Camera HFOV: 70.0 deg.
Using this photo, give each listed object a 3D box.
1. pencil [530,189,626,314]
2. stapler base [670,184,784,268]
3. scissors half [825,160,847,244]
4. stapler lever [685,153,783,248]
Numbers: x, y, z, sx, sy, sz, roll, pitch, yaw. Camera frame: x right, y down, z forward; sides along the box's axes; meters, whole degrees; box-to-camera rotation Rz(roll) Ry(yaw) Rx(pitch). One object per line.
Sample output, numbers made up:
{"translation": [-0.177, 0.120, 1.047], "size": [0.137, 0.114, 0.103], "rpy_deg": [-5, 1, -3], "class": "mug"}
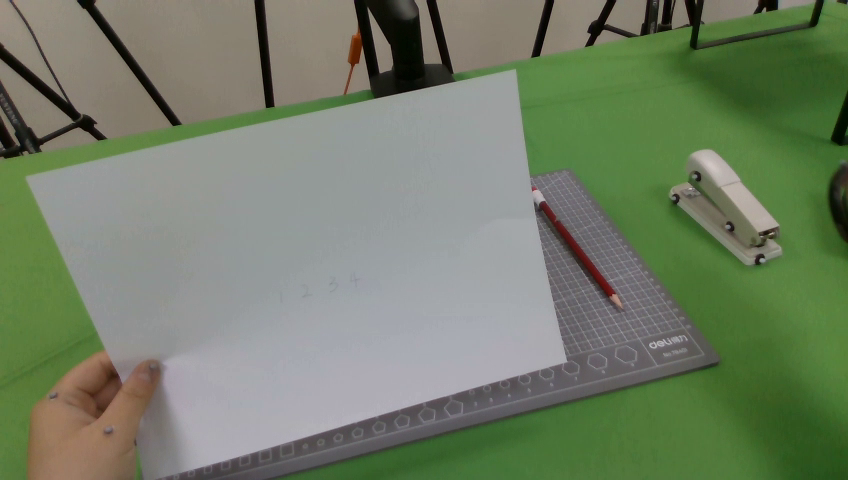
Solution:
{"translation": [0.147, 0.005, 0.594], "size": [0.012, 0.012, 0.192], "rpy_deg": [-15, 42, -9], "class": "pencil"}
{"translation": [0.297, -0.024, 0.601], "size": [0.041, 0.025, 0.129], "rpy_deg": [-17, 42, -9], "class": "stapler base"}
{"translation": [0.302, -0.081, 0.420], "size": [0.040, 0.013, 0.174], "rpy_deg": [10, 81, -2], "class": "scissors half"}
{"translation": [0.296, -0.042, 0.583], "size": [0.027, 0.040, 0.116], "rpy_deg": [-18, 42, -9], "class": "stapler lever"}
